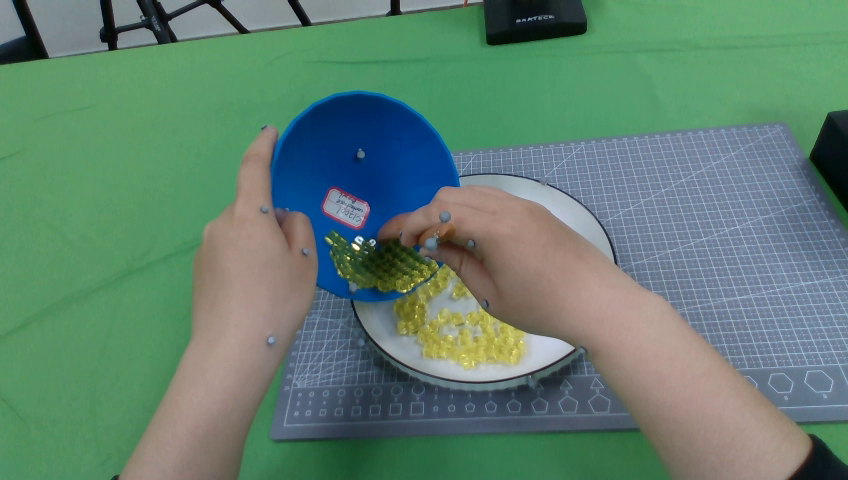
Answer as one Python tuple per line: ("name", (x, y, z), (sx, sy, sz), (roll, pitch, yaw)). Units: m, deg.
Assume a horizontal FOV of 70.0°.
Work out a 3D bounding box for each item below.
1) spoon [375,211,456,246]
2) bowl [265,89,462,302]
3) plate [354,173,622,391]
("spoon", (-0.004, -0.006, 0.385), (0.041, 0.022, 0.193), (-28, 9, -9))
("bowl", (-0.054, -0.029, 0.457), (0.151, 0.152, 0.076), (-44, 19, -25))
("plate", (0.048, 0.029, 0.483), (0.207, 0.039, 0.205), (-5, 49, 6))
